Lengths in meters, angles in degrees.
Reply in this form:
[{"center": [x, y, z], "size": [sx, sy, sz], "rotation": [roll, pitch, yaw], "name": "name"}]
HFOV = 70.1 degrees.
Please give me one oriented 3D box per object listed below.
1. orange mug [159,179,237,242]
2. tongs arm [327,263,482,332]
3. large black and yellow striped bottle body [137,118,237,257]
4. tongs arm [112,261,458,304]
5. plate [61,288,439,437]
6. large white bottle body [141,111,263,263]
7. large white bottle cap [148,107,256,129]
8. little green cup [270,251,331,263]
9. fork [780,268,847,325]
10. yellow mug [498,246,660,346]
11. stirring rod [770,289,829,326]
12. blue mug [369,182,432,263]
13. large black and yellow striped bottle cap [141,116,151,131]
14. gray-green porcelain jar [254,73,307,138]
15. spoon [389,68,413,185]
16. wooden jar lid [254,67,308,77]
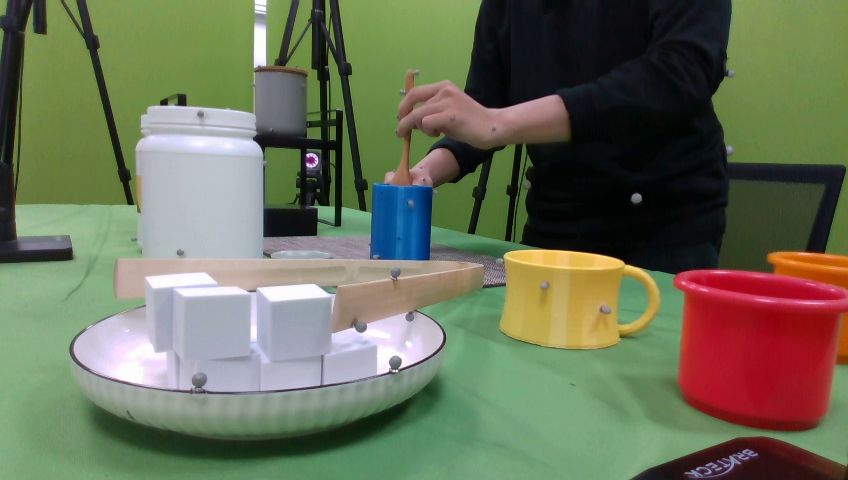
[{"center": [-0.368, -0.051, 0.991], "size": [0.127, 0.101, 0.083], "rotation": [-10, 14, -41], "name": "orange mug"}, {"center": [-0.003, 0.036, 0.493], "size": [0.050, 0.026, 0.386], "rotation": [1, 0, 19], "name": "tongs arm"}, {"center": [-0.330, -0.075, 0.849], "size": [0.131, 0.184, 0.130], "rotation": [2, 8, 0], "name": "large black and yellow striped bottle body"}, {"center": [-0.080, 0.032, 0.527], "size": [0.028, 0.027, 0.389], "rotation": [-3, -3, 33], "name": "tongs arm"}, {"center": [-0.095, 0.069, 0.362], "size": [0.208, 0.039, 0.207], "rotation": [3, 7, 0], "name": "plate"}, {"center": [-0.254, -0.053, 0.697], "size": [0.131, 0.184, 0.130], "rotation": [2, 7, 0], "name": "large white bottle body"}, {"center": [-0.250, -0.137, 0.686], "size": [0.115, 0.018, 0.115], "rotation": [3, 8, 0], "name": "large white bottle cap"}, {"center": [-0.129, 0.034, 0.629], "size": [0.061, 0.038, 0.061], "rotation": [3, 7, 0], "name": "little green cup"}, {"center": [0.324, 0.018, 0.441], "size": [0.028, 0.018, 0.207], "rotation": [-3, -36, -5], "name": "fork"}, {"center": [0.130, 0.045, 0.508], "size": [0.131, 0.064, 0.100], "rotation": [4, 7, 6], "name": "yellow mug"}, {"center": [0.349, 0.022, 0.468], "size": [0.014, 0.006, 0.175], "rotation": [-12, -26, -50], "name": "stirring rod"}, {"center": [-0.027, -0.026, 0.837], "size": [0.082, 0.106, 0.117], "rotation": [4, 7, 17], "name": "blue mug"}, {"center": [-0.328, -0.158, 0.837], "size": [0.115, 0.019, 0.115], "rotation": [2, 6, 0], "name": "large black and yellow striped bottle cap"}, {"center": [-0.298, -0.277, 1.259], "size": [0.106, 0.126, 0.106], "rotation": [3, 8, 0], "name": "gray-green porcelain jar"}, {"center": [-0.027, -0.132, 0.810], "size": [0.041, 0.193, 0.022], "rotation": [6, 3, 31], "name": "spoon"}, {"center": [-0.296, -0.339, 1.251], "size": [0.108, 0.020, 0.108], "rotation": [1, 7, 0], "name": "wooden jar lid"}]
